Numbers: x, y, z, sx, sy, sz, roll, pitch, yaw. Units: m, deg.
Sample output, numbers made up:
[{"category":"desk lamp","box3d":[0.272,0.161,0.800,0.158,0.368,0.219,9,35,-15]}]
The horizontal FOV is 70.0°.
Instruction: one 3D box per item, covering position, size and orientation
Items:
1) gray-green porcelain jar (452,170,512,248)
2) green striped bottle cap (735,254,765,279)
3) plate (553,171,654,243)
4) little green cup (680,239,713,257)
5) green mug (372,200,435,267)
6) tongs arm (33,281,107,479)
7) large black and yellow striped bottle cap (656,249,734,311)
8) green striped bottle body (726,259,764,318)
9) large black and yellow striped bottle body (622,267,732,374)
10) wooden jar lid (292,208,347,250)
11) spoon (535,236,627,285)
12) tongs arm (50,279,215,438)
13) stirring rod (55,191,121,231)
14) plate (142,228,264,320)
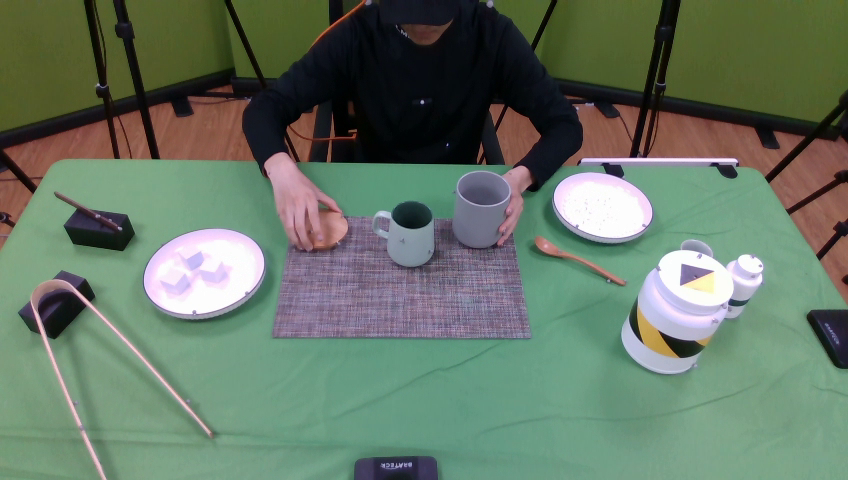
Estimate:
[{"category":"gray-green porcelain jar","box3d":[0.110,-0.056,1.179,0.106,0.127,0.105,2,47,-2]},{"category":"green striped bottle cap","box3d":[0.566,0.046,1.051,0.044,0.020,0.044,0,45,0]},{"category":"plate","box3d":[0.373,-0.066,1.275,0.209,0.038,0.208,2,46,-2]},{"category":"little green cup","box3d":[0.530,0.033,1.190,0.061,0.039,0.061,2,47,-2]},{"category":"green mug","box3d":[-0.040,-0.015,1.145,0.125,0.105,0.092,16,48,12]},{"category":"tongs arm","box3d":[-0.517,0.214,0.910,0.051,0.026,0.383,-28,63,-27]},{"category":"large black and yellow striped bottle cap","box3d":[0.419,0.061,0.938,0.115,0.019,0.114,2,47,-2]},{"category":"green striped bottle body","box3d":[0.563,0.081,1.089,0.063,0.120,0.063,2,46,-2]},{"category":"large black and yellow striped bottle body","box3d":[0.415,0.119,0.997,0.131,0.185,0.130,2,46,-2]},{"category":"wooden jar lid","box3d":[-0.205,-0.020,1.198,0.108,0.021,0.107,2,46,-2]},{"category":"spoon","box3d":[0.303,0.040,1.178,0.193,0.022,0.041,25,32,20]},{"category":"tongs arm","box3d":[-0.459,0.178,0.949,0.386,0.028,0.028,38,60,17]},{"category":"stirring rod","box3d":[-0.632,-0.055,1.138,0.175,0.014,0.006,24,51,19]},{"category":"plate","box3d":[-0.394,0.064,1.095,0.208,0.039,0.206,2,46,-2]}]
